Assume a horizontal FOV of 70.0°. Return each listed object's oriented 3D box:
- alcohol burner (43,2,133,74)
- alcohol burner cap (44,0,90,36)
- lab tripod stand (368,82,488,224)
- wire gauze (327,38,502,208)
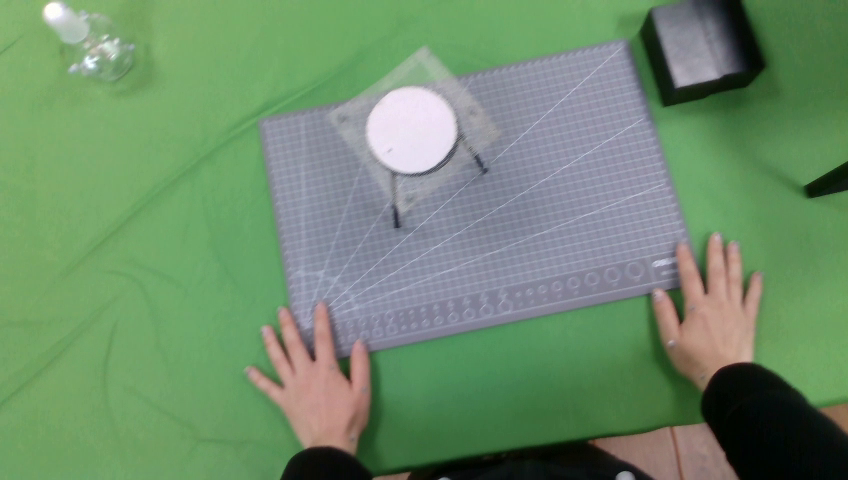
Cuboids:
[{"bbox_3d":[-0.391,-0.242,0.698,0.078,0.119,0.077,-1,80,4],"label":"alcohol burner"},{"bbox_3d":[-0.394,-0.250,0.662,0.034,0.048,0.033,1,79,-3],"label":"alcohol burner cap"},{"bbox_3d":[-0.007,-0.097,0.634,0.148,0.132,0.147,-1,79,5],"label":"lab tripod stand"},{"bbox_3d":[-0.010,-0.113,0.569,0.121,0.011,0.124,-37,79,-3],"label":"wire gauze"}]
